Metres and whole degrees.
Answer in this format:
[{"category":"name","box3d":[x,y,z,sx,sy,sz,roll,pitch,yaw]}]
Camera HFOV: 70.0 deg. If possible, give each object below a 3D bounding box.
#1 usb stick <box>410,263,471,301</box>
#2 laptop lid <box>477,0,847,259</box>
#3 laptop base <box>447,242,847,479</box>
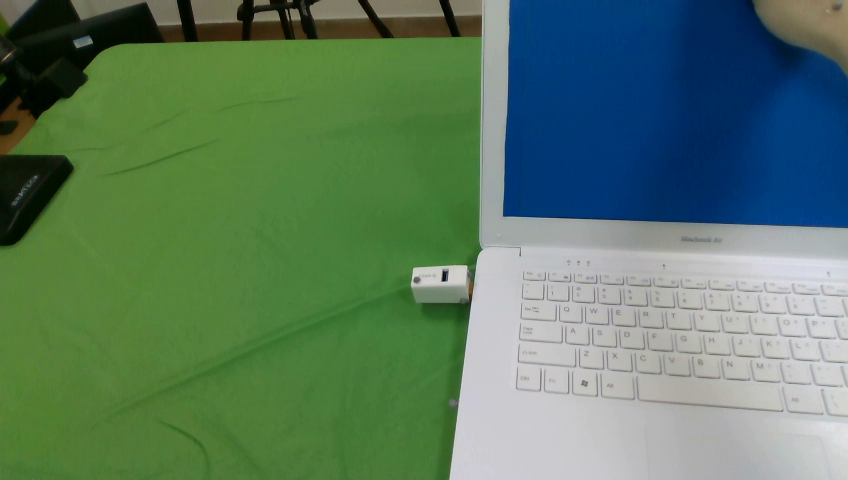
[{"category":"usb stick","box3d":[0.020,0.034,0.481,0.059,0.027,0.021,0,49,9]},{"category":"laptop lid","box3d":[0.215,-0.095,0.445,0.356,0.243,0.013,1,19,10]},{"category":"laptop base","box3d":[0.200,0.104,0.409,0.353,0.023,0.233,2,53,10]}]
